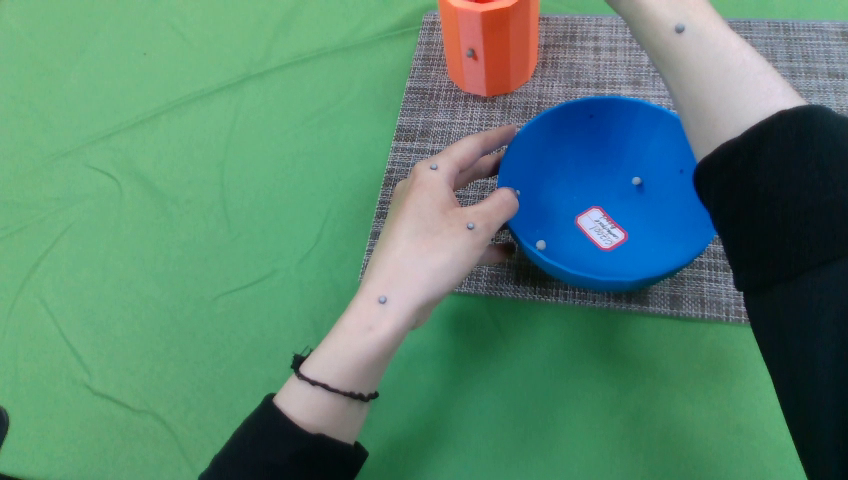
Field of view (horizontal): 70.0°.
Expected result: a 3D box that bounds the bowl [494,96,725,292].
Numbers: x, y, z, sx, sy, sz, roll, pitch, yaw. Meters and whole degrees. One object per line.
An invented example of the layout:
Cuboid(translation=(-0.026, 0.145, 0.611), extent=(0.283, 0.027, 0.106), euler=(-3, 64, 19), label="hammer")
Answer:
Cuboid(translation=(0.127, -0.021, 0.439), extent=(0.151, 0.077, 0.150), euler=(-3, 61, 6), label="bowl")

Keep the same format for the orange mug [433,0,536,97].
Cuboid(translation=(0.060, -0.207, 0.538), extent=(0.083, 0.101, 0.125), euler=(16, 70, 17), label="orange mug")
